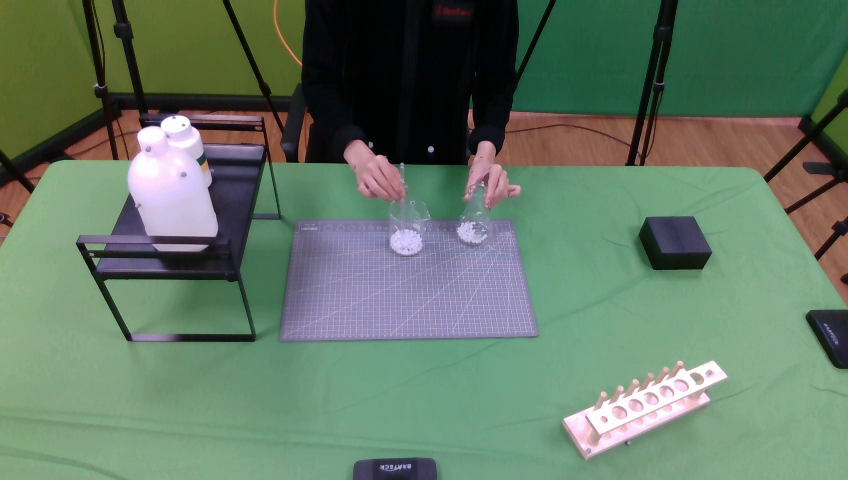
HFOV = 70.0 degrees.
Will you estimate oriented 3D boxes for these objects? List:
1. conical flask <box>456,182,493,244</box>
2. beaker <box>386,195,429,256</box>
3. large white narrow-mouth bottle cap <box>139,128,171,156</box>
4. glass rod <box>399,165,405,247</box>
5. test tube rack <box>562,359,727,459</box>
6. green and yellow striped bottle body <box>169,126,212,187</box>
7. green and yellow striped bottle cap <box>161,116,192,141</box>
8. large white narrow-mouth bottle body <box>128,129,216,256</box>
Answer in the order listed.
[{"bbox_3d":[0.101,-0.055,1.180,0.075,0.122,0.075,0,47,1],"label":"conical flask"},{"bbox_3d":[-0.031,-0.024,1.161,0.084,0.101,0.073,18,48,12],"label":"beaker"},{"bbox_3d":[-0.358,-0.131,0.808,0.038,0.024,0.037,3,47,-3],"label":"large white narrow-mouth bottle cap"},{"bbox_3d":[-0.040,-0.057,1.107,0.008,0.201,0.008,0,45,0],"label":"glass rod"},{"bbox_3d":[0.341,0.247,0.940,0.243,0.085,0.066,-16,49,-19],"label":"test tube rack"},{"bbox_3d":[-0.389,-0.139,0.984,0.063,0.120,0.063,2,46,-2],"label":"green and yellow striped bottle body"},{"bbox_3d":[-0.387,-0.174,0.946,0.045,0.020,0.045,3,44,-3],"label":"green and yellow striped bottle cap"},{"bbox_3d":[-0.366,-0.073,0.872,0.102,0.195,0.101,3,47,-3],"label":"large white narrow-mouth bottle body"}]
